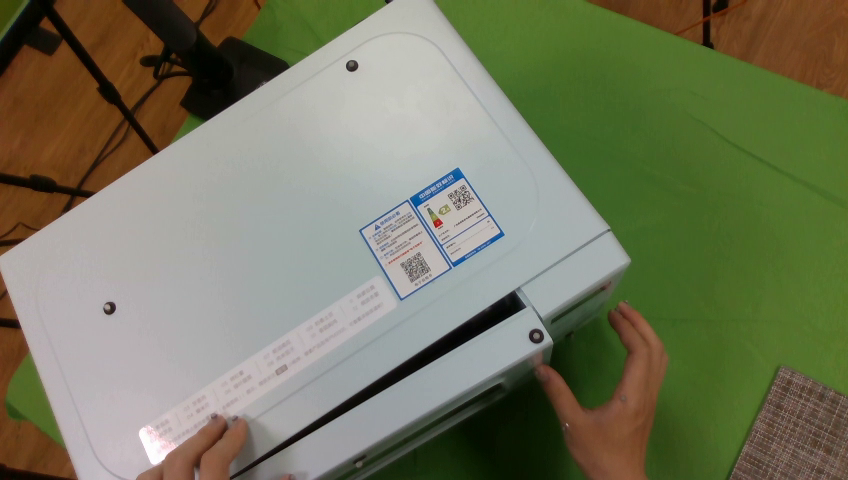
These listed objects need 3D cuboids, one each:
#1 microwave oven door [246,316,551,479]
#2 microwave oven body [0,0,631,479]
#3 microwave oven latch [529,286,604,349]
[{"bbox_3d":[-0.048,0.181,0.539,0.356,0.245,0.039,-30,70,0],"label":"microwave oven door"},{"bbox_3d":[-0.092,0.037,0.593,0.442,0.262,0.323,-33,72,0],"label":"microwave oven body"},{"bbox_3d":[0.150,0.083,0.639,0.079,0.030,0.030,-31,72,1],"label":"microwave oven latch"}]
